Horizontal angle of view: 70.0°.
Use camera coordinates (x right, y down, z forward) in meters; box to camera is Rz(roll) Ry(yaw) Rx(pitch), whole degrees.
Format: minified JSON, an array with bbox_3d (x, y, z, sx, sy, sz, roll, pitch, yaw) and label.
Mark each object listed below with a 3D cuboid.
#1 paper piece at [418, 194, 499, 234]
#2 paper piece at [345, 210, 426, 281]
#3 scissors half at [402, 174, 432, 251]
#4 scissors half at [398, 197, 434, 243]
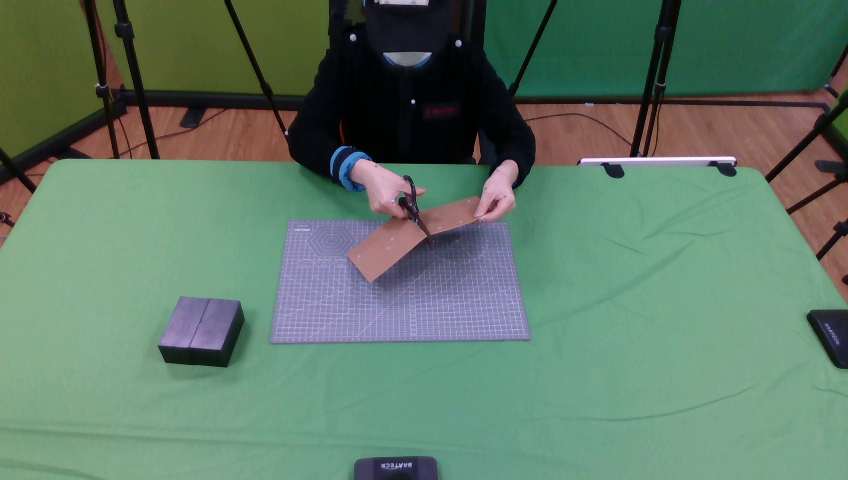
[{"bbox_3d":[0.056,-0.052,1.146,0.138,0.009,0.135,-13,28,-8],"label":"paper piece"},{"bbox_3d":[-0.073,0.007,1.124,0.135,0.004,0.134,-38,34,-7],"label":"paper piece"},{"bbox_3d":[-0.012,-0.052,1.109,0.013,0.040,0.174,-8,60,-18],"label":"scissors half"},{"bbox_3d":[-0.016,-0.035,1.124,0.013,0.040,0.174,-5,26,-22],"label":"scissors half"}]
